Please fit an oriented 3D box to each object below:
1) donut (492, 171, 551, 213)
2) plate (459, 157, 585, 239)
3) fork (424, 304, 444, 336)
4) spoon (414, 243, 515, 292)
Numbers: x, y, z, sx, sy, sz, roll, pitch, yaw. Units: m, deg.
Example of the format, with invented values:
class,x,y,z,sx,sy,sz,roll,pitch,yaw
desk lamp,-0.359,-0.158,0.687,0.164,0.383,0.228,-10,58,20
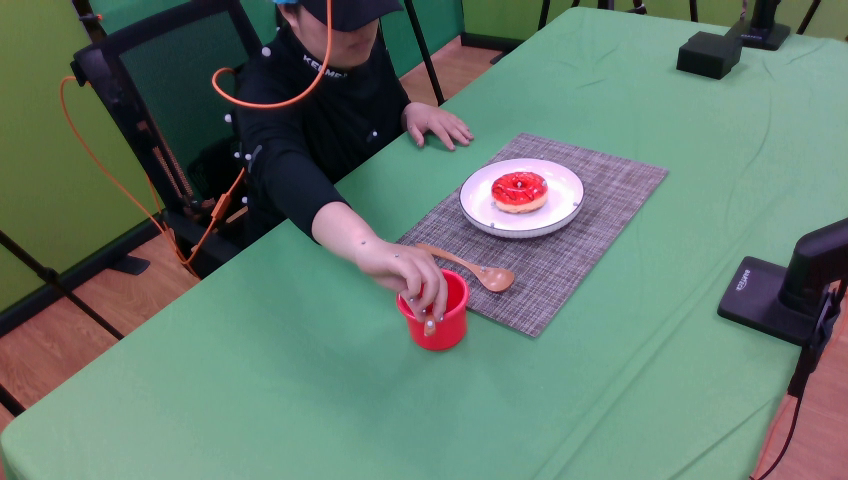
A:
class,x,y,z,sx,sy,sz,roll,pitch,yaw
donut,0.164,-0.083,1.015,0.099,0.048,0.098,-6,37,5
plate,0.163,-0.068,1.015,0.209,0.038,0.208,-5,40,5
fork,0.010,0.100,0.766,0.028,0.018,0.207,-13,-2,2
spoon,0.057,0.035,0.924,0.192,0.022,0.041,24,68,34
